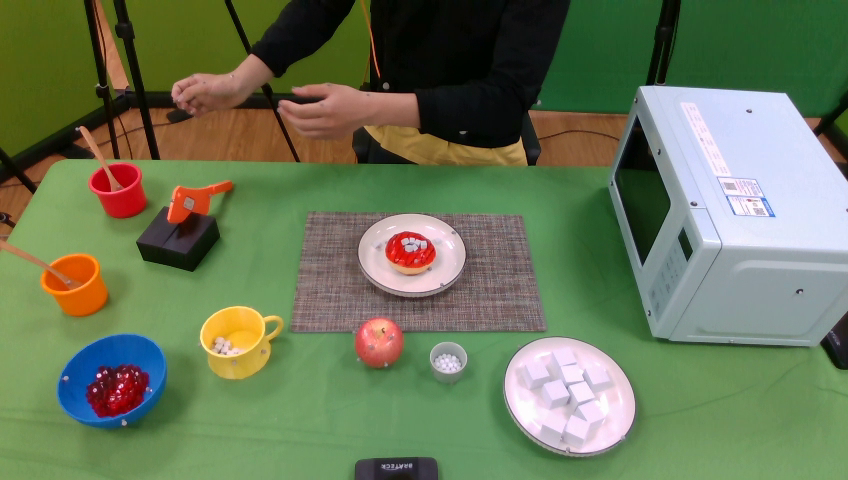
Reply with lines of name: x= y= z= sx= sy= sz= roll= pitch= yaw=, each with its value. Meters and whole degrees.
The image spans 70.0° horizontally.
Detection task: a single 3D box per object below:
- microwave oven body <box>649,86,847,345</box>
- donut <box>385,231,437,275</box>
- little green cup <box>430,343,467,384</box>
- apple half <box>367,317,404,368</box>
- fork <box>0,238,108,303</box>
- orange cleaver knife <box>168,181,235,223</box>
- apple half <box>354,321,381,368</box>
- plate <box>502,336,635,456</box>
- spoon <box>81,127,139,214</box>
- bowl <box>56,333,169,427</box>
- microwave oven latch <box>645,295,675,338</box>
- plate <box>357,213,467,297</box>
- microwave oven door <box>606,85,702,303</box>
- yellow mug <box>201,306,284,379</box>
microwave oven body: x=0.568 y=-0.053 z=1.118 sx=0.326 sy=0.261 sz=0.439 roll=2 pitch=45 yaw=-1
donut: x=-0.025 y=0.024 z=1.141 sx=0.099 sy=0.048 sz=0.098 roll=3 pitch=44 yaw=-3
little green cup: x=0.039 y=0.203 z=0.994 sx=0.061 sy=0.039 sz=0.061 roll=2 pitch=46 yaw=-2
apple half: x=-0.061 y=0.167 z=0.998 sx=0.053 sy=0.075 sz=0.080 roll=-11 pitch=44 yaw=-20
fork: x=-0.633 y=0.048 z=1.017 sx=0.208 sy=0.018 sz=0.028 roll=40 pitch=41 yaw=-27
orange cleaver knife: x=-0.436 y=-0.077 z=1.196 sx=0.012 sy=0.077 sz=0.211 roll=16 pitch=15 yaw=10
apple half: x=-0.097 y=0.176 z=0.985 sx=0.033 sy=0.081 sz=0.080 roll=-12 pitch=48 yaw=-20
plate: x=0.225 y=0.248 z=0.963 sx=0.208 sy=0.039 sz=0.206 roll=2 pitch=46 yaw=-2
spoon: x=-0.625 y=-0.139 z=1.202 sx=0.041 sy=0.021 sz=0.194 roll=-30 pitch=99 yaw=-27
bowl: x=-0.456 y=0.223 z=0.911 sx=0.151 sy=0.077 sz=0.150 roll=3 pitch=46 yaw=-2
microwave oven latch: x=0.412 y=0.134 z=1.061 sx=0.030 sy=0.029 sz=0.078 roll=3 pitch=45 yaw=0
plate: x=-0.023 y=0.032 z=1.150 sx=0.209 sy=0.038 sz=0.208 roll=2 pitch=46 yaw=-2
microwave oven door: x=0.423 y=-0.094 z=1.141 sx=0.039 sy=0.245 sz=0.353 roll=2 pitch=46 yaw=-1
yellow mug: x=-0.291 y=0.160 z=0.993 sx=0.131 sy=0.064 sz=0.099 roll=-23 pitch=51 yaw=-25
